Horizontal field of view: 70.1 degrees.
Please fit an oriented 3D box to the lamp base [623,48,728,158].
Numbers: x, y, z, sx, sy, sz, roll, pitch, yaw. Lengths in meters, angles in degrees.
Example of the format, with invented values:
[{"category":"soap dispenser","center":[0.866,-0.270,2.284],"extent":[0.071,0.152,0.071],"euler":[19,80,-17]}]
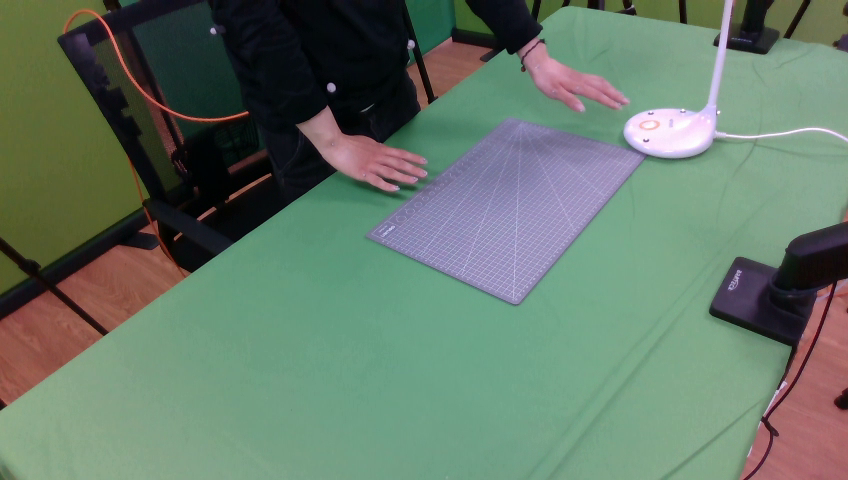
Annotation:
[{"category":"lamp base","center":[0.463,-0.261,1.084],"extent":[0.179,0.181,0.160],"euler":[3,42,7]}]
